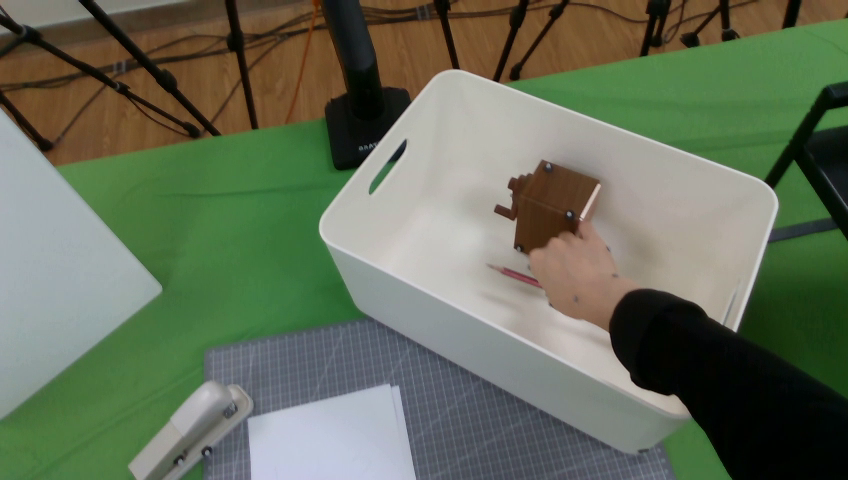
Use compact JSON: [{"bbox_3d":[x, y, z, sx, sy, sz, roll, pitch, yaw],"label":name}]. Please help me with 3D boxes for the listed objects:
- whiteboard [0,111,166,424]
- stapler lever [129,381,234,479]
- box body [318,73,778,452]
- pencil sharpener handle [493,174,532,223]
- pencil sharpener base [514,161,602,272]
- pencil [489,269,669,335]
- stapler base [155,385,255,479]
[{"bbox_3d":[-0.468,0.000,0.625,0.217,0.309,0.142,-42,45,-19],"label":"whiteboard"},{"bbox_3d":[-0.238,0.187,0.592,0.118,0.040,0.026,-43,60,-17],"label":"stapler lever"},{"bbox_3d":[0.117,0.017,0.620,0.362,0.162,0.253,25,63,18],"label":"box body"},{"bbox_3d":[0.096,-0.049,0.674,0.030,0.068,0.036,24,47,19],"label":"pencil sharpener handle"},{"bbox_3d":[0.143,-0.025,0.671,0.076,0.108,0.061,24,61,19],"label":"pencil sharpener base"},{"bbox_3d":[0.159,0.062,0.640,0.193,0.012,0.012,19,61,18],"label":"pencil"},{"bbox_3d":[-0.234,0.198,0.614,0.130,0.025,0.041,-43,61,-16],"label":"stapler base"}]
